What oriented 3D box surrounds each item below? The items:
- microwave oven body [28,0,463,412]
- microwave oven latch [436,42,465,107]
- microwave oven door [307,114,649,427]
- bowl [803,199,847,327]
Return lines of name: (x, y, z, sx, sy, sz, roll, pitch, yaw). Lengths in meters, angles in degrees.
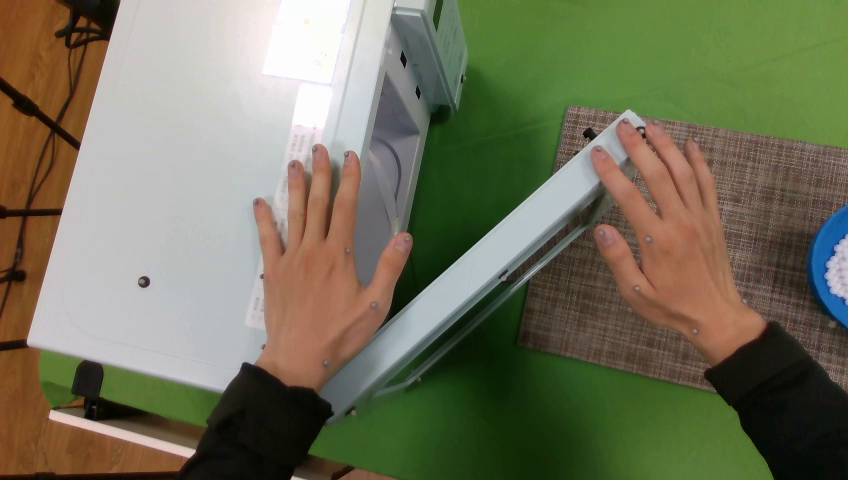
microwave oven body: (-0.164, -0.075, 0.659, 0.325, 0.261, 0.440, 10, 84, 11)
microwave oven latch: (0.031, -0.207, 0.744, 0.030, 0.029, 0.079, 11, 84, 11)
microwave oven door: (0.060, 0.041, 0.599, 0.356, 0.245, 0.039, -43, 76, 1)
bowl: (0.465, 0.029, 0.628, 0.151, 0.077, 0.151, -1, 82, 10)
